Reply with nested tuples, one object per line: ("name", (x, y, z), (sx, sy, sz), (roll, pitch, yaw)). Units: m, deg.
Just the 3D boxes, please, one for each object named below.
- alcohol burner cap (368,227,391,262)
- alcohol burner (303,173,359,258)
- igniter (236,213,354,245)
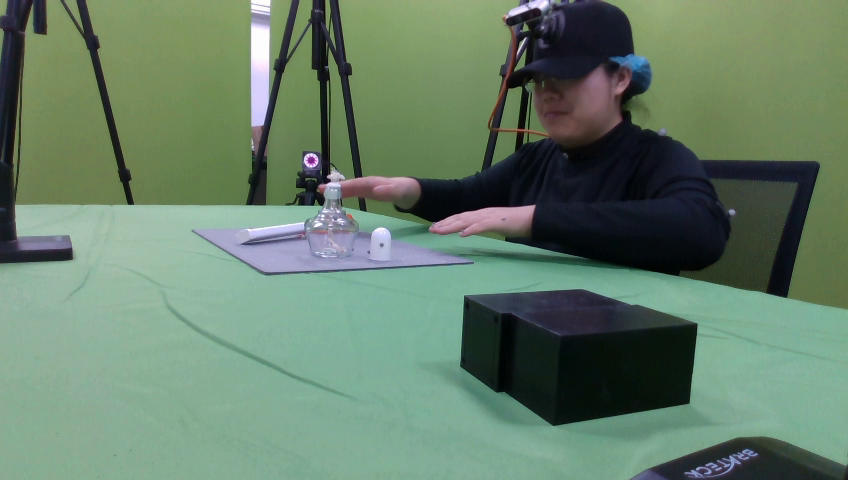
("alcohol burner cap", (-0.060, 0.006, 0.837), (0.034, 0.048, 0.034), (3, 7, 0))
("alcohol burner", (-0.130, -0.035, 0.850), (0.078, 0.119, 0.078), (2, 5, 0))
("igniter", (-0.207, -0.021, 1.035), (0.057, 0.025, 0.278), (-20, -3, 30))
